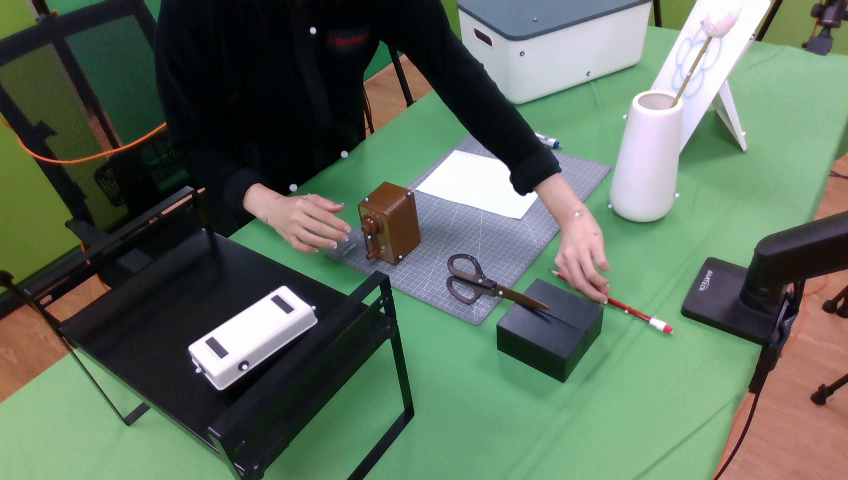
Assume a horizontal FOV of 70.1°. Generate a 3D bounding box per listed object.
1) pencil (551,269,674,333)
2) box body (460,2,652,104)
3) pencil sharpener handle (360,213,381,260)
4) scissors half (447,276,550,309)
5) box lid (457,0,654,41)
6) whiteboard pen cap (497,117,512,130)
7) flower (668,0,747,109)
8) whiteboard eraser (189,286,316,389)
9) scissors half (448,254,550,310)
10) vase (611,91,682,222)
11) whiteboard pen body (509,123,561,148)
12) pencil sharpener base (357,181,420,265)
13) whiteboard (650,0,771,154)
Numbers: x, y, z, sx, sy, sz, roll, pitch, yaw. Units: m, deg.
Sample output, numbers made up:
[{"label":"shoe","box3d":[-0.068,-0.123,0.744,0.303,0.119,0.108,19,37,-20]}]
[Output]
[{"label":"pencil","box3d":[0.259,0.081,0.851,0.192,0.012,0.012,28,51,36]},{"label":"box body","box3d":[0.291,-0.465,1.371,0.365,0.161,0.252,-22,42,-16]},{"label":"pencil sharpener handle","box3d":[-0.083,-0.004,0.902,0.035,0.068,0.031,13,44,36]},{"label":"scissors half","box3d":[0.098,0.077,0.827,0.013,0.040,0.174,-15,14,-43]},{"label":"box lid","box3d":[0.285,-0.522,1.323,0.373,0.015,0.261,-22,43,-16]},{"label":"whiteboard pen cap","box3d":[0.165,-0.235,1.226,0.033,0.018,0.018,32,54,31]},{"label":"flower","box3d":[0.355,-0.187,0.879,0.038,0.362,0.044,30,48,14]},{"label":"whiteboard eraser","box3d":[-0.166,0.096,0.593,0.113,0.042,0.055,-36,47,-29]},{"label":"scissors half","box3d":[0.098,0.058,0.821,0.173,0.040,0.013,27,34,37]},{"label":"vase","box3d":[0.348,-0.125,0.935,0.098,0.201,0.097,-3,40,3]},{"label":"whiteboard pen body","box3d":[0.209,-0.211,1.195,0.139,0.017,0.017,30,52,33]},{"label":"pencil sharpener base","box3d":[-0.055,-0.024,0.941,0.061,0.107,0.077,21,48,29]},{"label":"whiteboard","box3d":[0.543,-0.298,1.076,0.144,0.305,0.216,12,40,-7]}]
